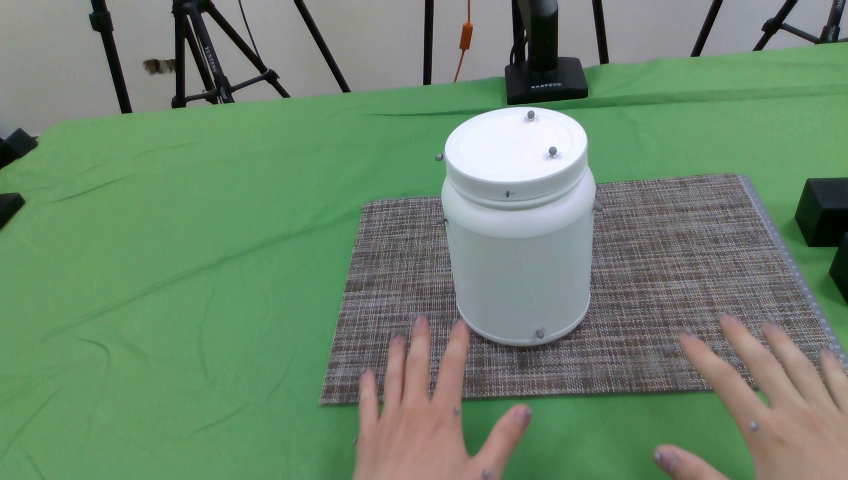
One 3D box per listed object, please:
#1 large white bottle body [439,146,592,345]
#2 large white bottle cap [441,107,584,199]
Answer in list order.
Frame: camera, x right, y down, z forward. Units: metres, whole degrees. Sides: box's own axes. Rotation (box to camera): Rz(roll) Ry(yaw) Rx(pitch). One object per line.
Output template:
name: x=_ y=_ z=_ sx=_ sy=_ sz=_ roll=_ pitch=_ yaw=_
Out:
large white bottle body: x=0.083 y=-0.010 z=0.546 sx=0.130 sy=0.186 sz=0.129 roll=-6 pitch=40 yaw=5
large white bottle cap: x=0.071 y=-0.073 z=0.490 sx=0.115 sy=0.018 sz=0.113 roll=-6 pitch=40 yaw=5
